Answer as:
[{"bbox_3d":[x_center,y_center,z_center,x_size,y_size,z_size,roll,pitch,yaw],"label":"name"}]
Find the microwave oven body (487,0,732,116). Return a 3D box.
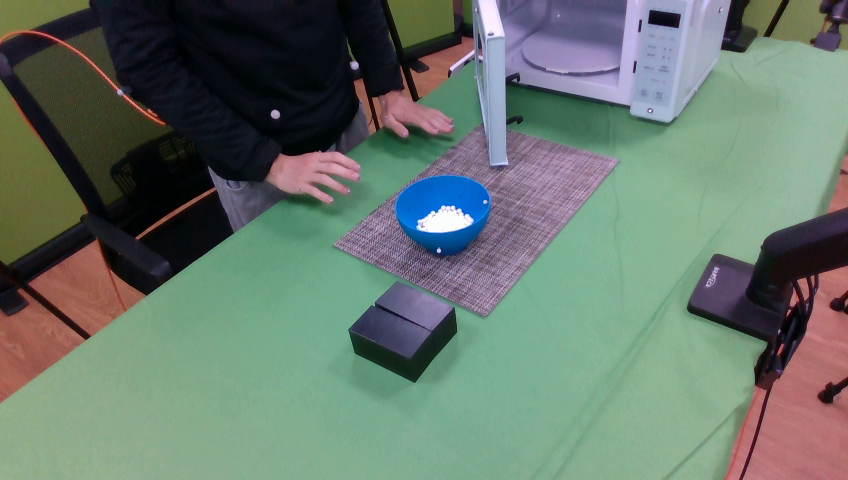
[{"bbox_3d":[0.377,-0.462,1.267,0.438,0.261,0.327,21,48,30],"label":"microwave oven body"}]

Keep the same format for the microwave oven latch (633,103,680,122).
[{"bbox_3d":[0.443,-0.249,1.157,0.078,0.029,0.030,21,48,30],"label":"microwave oven latch"}]

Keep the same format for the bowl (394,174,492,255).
[{"bbox_3d":[0.032,-0.030,0.949,0.151,0.077,0.150,-4,40,4],"label":"bowl"}]

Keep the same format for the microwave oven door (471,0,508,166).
[{"bbox_3d":[0.122,-0.340,1.153,0.039,0.245,0.354,-5,40,3],"label":"microwave oven door"}]
